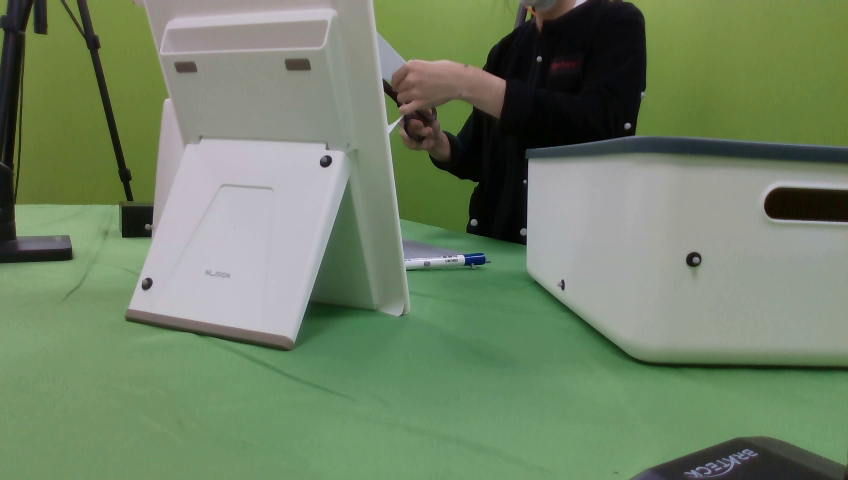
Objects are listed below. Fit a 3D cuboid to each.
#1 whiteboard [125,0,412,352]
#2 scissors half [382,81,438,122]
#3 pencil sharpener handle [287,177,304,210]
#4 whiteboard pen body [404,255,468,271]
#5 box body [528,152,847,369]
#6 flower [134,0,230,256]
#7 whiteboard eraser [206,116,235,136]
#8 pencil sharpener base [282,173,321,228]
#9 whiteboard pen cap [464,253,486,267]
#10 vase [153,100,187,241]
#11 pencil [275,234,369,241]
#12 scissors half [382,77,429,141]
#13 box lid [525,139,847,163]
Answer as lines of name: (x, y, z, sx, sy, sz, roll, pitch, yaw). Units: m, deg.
whiteboard: (-0.151, -0.049, 0.472, 0.216, 0.305, 0.144, 6, 27, 24)
scissors half: (-0.037, -0.254, 1.057, 0.176, 0.040, 0.013, 20, -9, -43)
pencil sharpener handle: (-0.269, -0.096, 1.257, 0.036, 0.067, 0.030, -8, 8, -27)
whiteboard pen body: (0.013, 0.030, 0.792, 0.141, 0.017, 0.017, -3, 9, -24)
box body: (0.257, -0.005, 0.591, 0.254, 0.160, 0.363, 2, 7, -4)
flower: (-0.282, -0.147, 0.713, 0.038, 0.362, 0.044, -23, 24, -31)
whiteboard eraser: (-0.450, -0.252, 1.335, 0.056, 0.042, 0.112, 1, 7, -22)
pencil sharpener base: (-0.247, -0.080, 1.212, 0.061, 0.107, 0.076, -2, 5, -28)
whiteboard pen cap: (0.066, 0.027, 0.818, 0.033, 0.018, 0.018, -5, 10, -24)
vase: (-0.278, -0.066, 0.736, 0.098, 0.200, 0.098, 2, 9, 0)
pencil: (-0.169, -0.006, 1.036, 0.195, 0.012, 0.012, -2, 9, -45)
scissors half: (-0.046, -0.235, 1.053, 0.012, 0.040, 0.176, 14, -27, 48)
box lid: (0.261, -0.078, 0.580, 0.264, 0.015, 0.371, 2, 7, -4)
